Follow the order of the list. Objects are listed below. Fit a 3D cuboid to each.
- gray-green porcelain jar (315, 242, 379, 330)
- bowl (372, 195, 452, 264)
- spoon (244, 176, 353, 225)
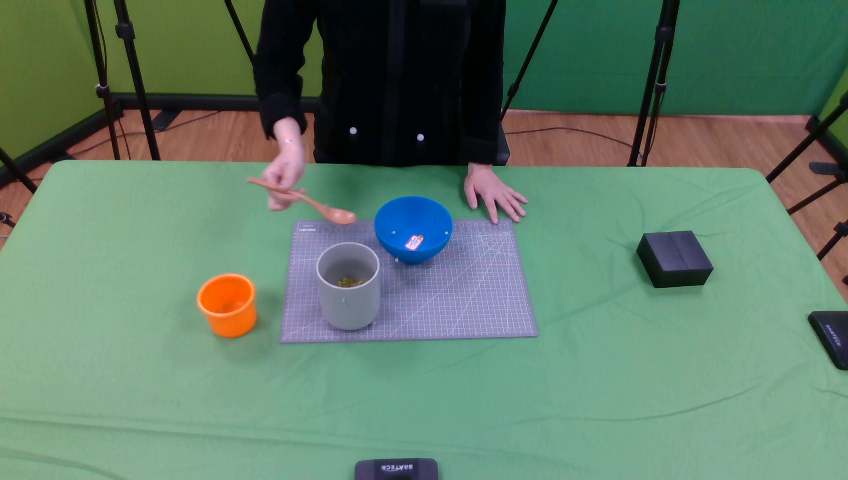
[{"bbox_3d":[-0.129,0.084,1.031,0.106,0.127,0.105,2,46,-2],"label":"gray-green porcelain jar"},{"bbox_3d":[-0.023,-0.008,1.161,0.151,0.077,0.150,2,46,-2],"label":"bowl"},{"bbox_3d":[-0.210,-0.070,1.027,0.194,0.021,0.041,26,35,-23],"label":"spoon"}]
